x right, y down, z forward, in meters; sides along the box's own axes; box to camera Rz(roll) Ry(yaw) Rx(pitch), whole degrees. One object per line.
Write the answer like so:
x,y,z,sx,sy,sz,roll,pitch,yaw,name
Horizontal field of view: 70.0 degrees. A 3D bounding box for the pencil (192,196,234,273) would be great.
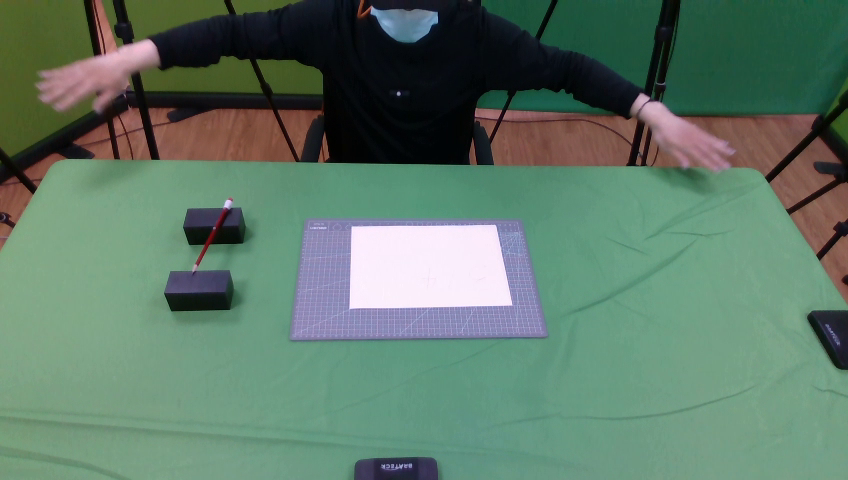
-0.389,-0.012,1.119,0.012,0.012,0.193,8,48,4,pencil
